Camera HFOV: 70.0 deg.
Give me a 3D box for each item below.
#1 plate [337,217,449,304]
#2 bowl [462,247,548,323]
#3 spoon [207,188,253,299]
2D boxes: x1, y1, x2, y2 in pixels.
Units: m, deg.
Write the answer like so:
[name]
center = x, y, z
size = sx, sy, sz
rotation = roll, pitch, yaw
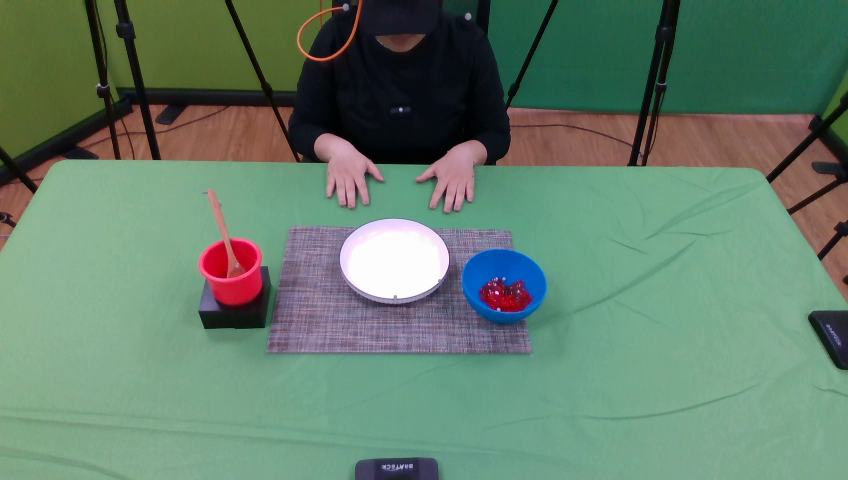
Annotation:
[plate]
center = -0.058, 0.042, 1.136
size = 0.208, 0.039, 0.206
rotation = 2, 46, -2
[bowl]
center = 0.138, 0.093, 1.072
size = 0.151, 0.077, 0.150
rotation = 2, 46, -2
[spoon]
center = -0.328, 0.005, 1.013
size = 0.042, 0.021, 0.193
rotation = -16, 94, -19
